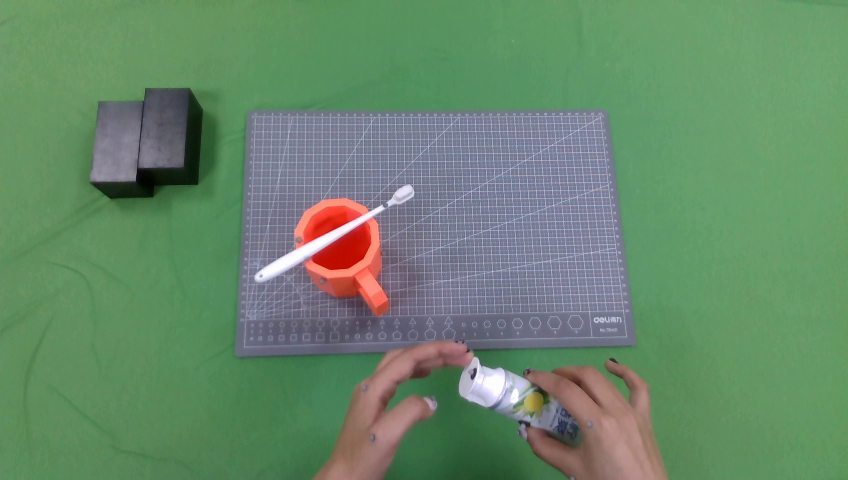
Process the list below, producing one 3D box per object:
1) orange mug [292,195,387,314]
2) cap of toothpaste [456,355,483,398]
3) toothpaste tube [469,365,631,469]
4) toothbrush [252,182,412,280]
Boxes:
[{"bbox_3d":[-0.082,0.022,0.651,0.083,0.101,0.125,-34,74,-12],"label":"orange mug"},{"bbox_3d":[0.039,0.115,0.507,0.011,0.037,0.037,21,73,-13],"label":"cap of toothpaste"},{"bbox_3d":[0.108,0.150,0.529,0.166,0.034,0.055,25,87,-15],"label":"toothpaste tube"},{"bbox_3d":[-0.090,-0.010,0.605,0.182,0.017,0.014,-31,83,-11],"label":"toothbrush"}]
